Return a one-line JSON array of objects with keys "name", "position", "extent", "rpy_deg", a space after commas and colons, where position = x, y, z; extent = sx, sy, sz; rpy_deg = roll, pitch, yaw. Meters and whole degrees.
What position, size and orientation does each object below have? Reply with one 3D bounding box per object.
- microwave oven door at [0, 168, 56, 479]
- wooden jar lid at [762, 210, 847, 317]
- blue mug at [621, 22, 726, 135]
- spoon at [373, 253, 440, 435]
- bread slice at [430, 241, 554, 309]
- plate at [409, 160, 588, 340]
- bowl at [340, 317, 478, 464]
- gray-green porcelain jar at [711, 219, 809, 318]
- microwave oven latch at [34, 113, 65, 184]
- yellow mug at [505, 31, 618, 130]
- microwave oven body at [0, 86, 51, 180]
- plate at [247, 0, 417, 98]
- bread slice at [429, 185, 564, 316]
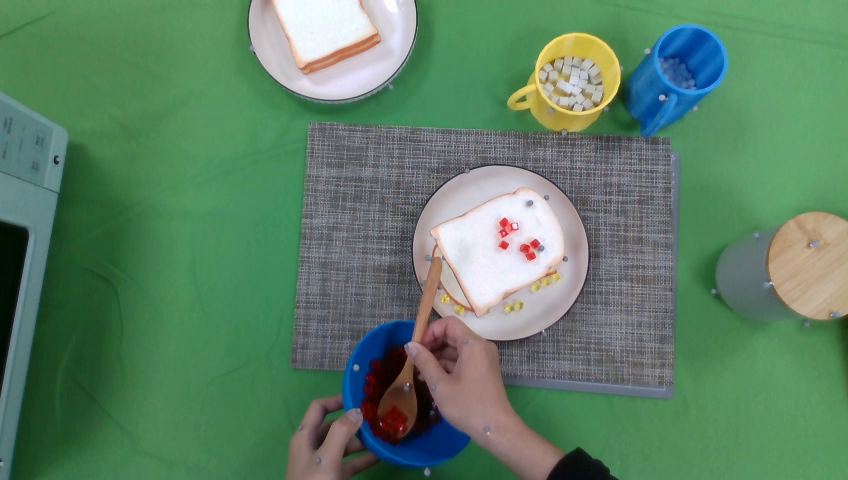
[{"name": "microwave oven door", "position": [-0.468, 0.094, 0.580], "extent": [0.039, 0.244, 0.354], "rpy_deg": [5, 82, 1]}, {"name": "wooden jar lid", "position": [0.390, 0.024, 0.608], "extent": [0.108, 0.021, 0.108], "rpy_deg": [0, 85, -2]}, {"name": "blue mug", "position": [0.281, -0.177, 0.708], "extent": [0.082, 0.106, 0.116], "rpy_deg": [24, 83, 4]}, {"name": "spoon", "position": [-0.012, 0.106, 0.609], "extent": [0.041, 0.021, 0.194], "rpy_deg": [18, 103, 10]}, {"name": "bread slice", "position": [0.076, 0.021, 0.715], "extent": [0.131, 0.019, 0.104], "rpy_deg": [-28, 82, -7]}, {"name": "plate", "position": [0.086, 0.012, 0.712], "extent": [0.209, 0.038, 0.208], "rpy_deg": [0, 83, 0]}, {"name": "bowl", "position": [-0.027, 0.165, 0.635], "extent": [0.152, 0.077, 0.150], "rpy_deg": [17, 53, -23]}, {"name": "gray-green porcelain jar", "position": [0.391, 0.034, 0.670], "extent": [0.106, 0.127, 0.105], "rpy_deg": [0, 82, 0]}, {"name": "microwave oven latch", "position": [-0.445, -0.108, 0.708], "extent": [0.030, 0.029, 0.079], "rpy_deg": [8, 83, 0]}, {"name": "yellow mug", "position": [0.160, -0.185, 0.728], "extent": [0.131, 0.064, 0.099], "rpy_deg": [-17, 82, -1]}, {"name": "microwave oven body", "position": [-0.609, 0.039, 0.591], "extent": [0.326, 0.261, 0.440], "rpy_deg": [5, 83, 0]}, {"name": "plate", "position": [-0.112, -0.272, 0.752], "extent": [0.208, 0.039, 0.207], "rpy_deg": [0, 82, 0]}, {"name": "bread slice", "position": [0.083, 0.001, 0.654], "extent": [0.134, 0.018, 0.107], "rpy_deg": [-31, 90, -11]}]
